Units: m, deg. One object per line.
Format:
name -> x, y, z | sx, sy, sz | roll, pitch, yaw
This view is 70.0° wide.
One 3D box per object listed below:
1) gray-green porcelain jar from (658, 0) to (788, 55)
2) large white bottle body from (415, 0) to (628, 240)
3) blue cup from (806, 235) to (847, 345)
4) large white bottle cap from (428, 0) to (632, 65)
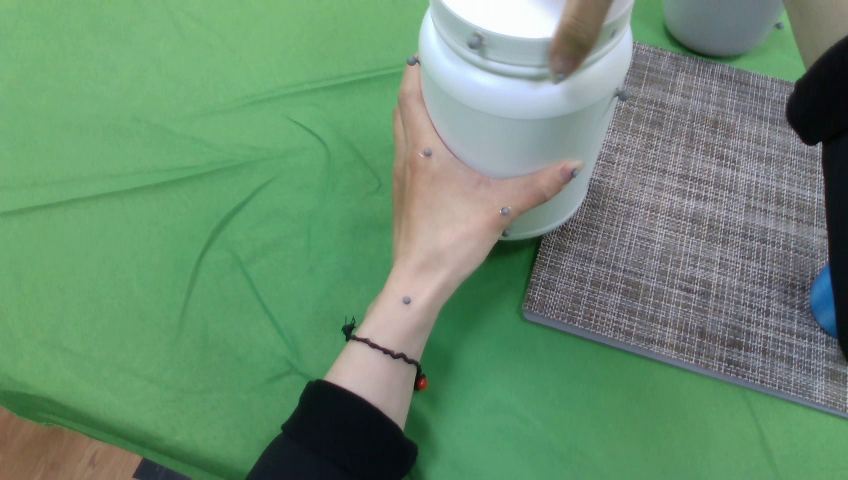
gray-green porcelain jar -> 0.275, -0.239, 0.536 | 0.106, 0.127, 0.105 | 1, 62, -1
large white bottle body -> 0.060, -0.099, 0.412 | 0.130, 0.186, 0.129 | 0, 58, 1
blue cup -> 0.313, 0.027, 0.405 | 0.092, 0.101, 0.092 | 1, 60, -1
large white bottle cap -> 0.059, -0.144, 0.339 | 0.115, 0.018, 0.114 | 0, 58, 1
